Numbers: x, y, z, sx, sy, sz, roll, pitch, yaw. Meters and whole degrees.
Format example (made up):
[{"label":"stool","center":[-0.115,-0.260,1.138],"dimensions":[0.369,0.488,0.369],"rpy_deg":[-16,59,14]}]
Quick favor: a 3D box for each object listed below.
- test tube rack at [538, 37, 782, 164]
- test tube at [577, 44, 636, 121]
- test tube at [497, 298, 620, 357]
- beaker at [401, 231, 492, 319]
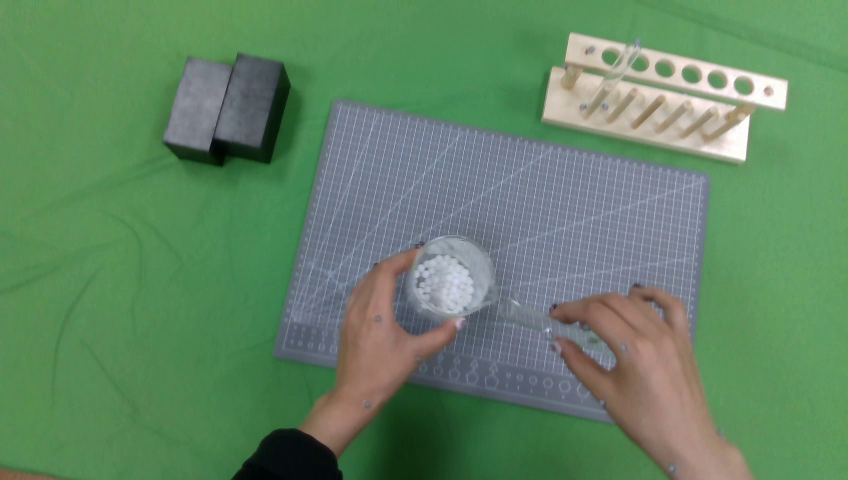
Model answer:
[{"label":"test tube rack","center":[0.262,-0.155,0.688],"dimensions":[0.242,0.085,0.066],"rpy_deg":[12,78,-1]},{"label":"test tube","center":[0.190,-0.162,0.639],"dimensions":[0.017,0.151,0.017],"rpy_deg":[1,77,-2]},{"label":"test tube","center":[0.114,0.073,0.492],"dimensions":[0.152,0.017,0.017],"rpy_deg":[23,74,-36]},{"label":"beaker","center":[0.018,0.039,0.581],"dimensions":[0.084,0.100,0.074],"rpy_deg":[25,78,-2]}]
